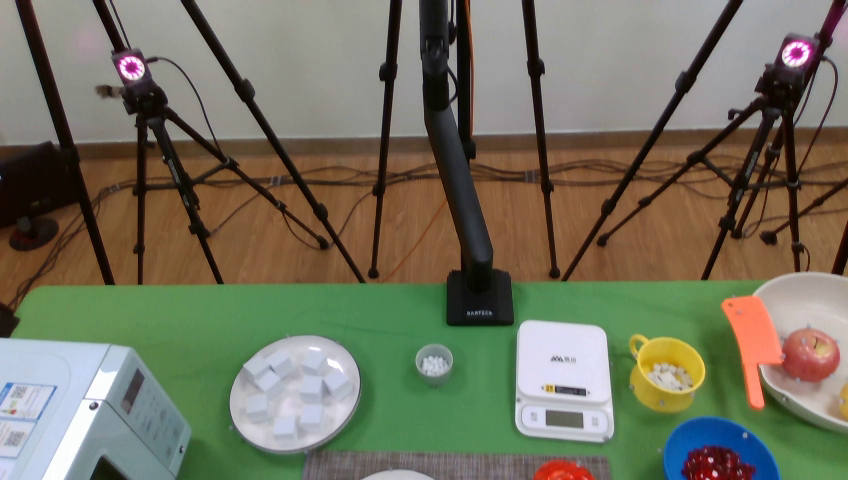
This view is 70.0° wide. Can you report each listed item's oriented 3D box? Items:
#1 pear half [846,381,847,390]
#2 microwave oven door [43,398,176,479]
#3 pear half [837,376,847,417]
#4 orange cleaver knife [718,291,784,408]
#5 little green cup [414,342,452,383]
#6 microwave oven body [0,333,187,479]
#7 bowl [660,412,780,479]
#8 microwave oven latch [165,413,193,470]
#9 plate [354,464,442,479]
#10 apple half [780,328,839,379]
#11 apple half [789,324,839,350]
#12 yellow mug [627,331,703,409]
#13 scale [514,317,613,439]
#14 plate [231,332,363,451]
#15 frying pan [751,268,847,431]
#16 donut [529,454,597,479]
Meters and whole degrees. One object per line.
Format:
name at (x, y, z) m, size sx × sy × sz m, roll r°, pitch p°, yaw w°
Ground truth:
pear half at (0.675, 0.217, 0.903) m, size 0.070 × 0.089 × 0.031 m, roll 22°, pitch 53°, yaw 28°
microwave oven door at (-0.401, 0.394, 0.687) m, size 0.039 × 0.246 × 0.352 m, roll 2°, pitch 48°, yaw 6°
pear half at (0.650, 0.229, 0.880) m, size 0.075 × 0.111 × 0.056 m, roll 27°, pitch 56°, yaw 30°
orange cleaver knife at (0.510, 0.162, 0.935) m, size 0.077 × 0.012 × 0.209 m, roll 2°, pitch 48°, yaw 9°
little green cup at (0.016, 0.203, 0.997) m, size 0.061 × 0.039 × 0.061 m, roll -2°, pitch 47°, yaw 2°
microwave oven body at (-0.542, 0.362, 0.732) m, size 0.326 × 0.262 × 0.437 m, roll 2°, pitch 49°, yaw 5°
bowl at (0.397, 0.324, 0.838) m, size 0.151 × 0.077 × 0.150 m, roll -2°, pitch 49°, yaw 2°
microwave oven latch at (-0.373, 0.301, 0.908) m, size 0.030 × 0.030 × 0.078 m, roll 4°, pitch 49°, yaw 7°
plate at (-0.038, 0.408, 0.810) m, size 0.209 × 0.038 × 0.207 m, roll -2°, pitch 48°, yaw 2°
apple half at (0.595, 0.185, 0.948) m, size 0.080 × 0.075 × 0.053 m, roll 36°, pitch 62°, yaw 27°
apple half at (0.621, 0.162, 0.965) m, size 0.080 × 0.082 × 0.033 m, roll 33°, pitch 61°, yaw 29°
yellow mug at (0.370, 0.196, 0.963) m, size 0.100 × 0.064 × 0.129 m, roll -25°, pitch 50°, yaw -17°
scale at (0.223, 0.217, 0.977) m, size 0.148 × 0.032 × 0.199 m, roll 3°, pitch 49°, yaw 7°
plate at (-0.201, 0.243, 0.975) m, size 0.207 × 0.039 × 0.205 m, roll -2°, pitch 48°, yaw 2°
frying pan at (0.690, 0.233, 0.884) m, size 0.307 × 0.104 × 0.482 m, roll -21°, pitch 42°, yaw -13°
donut at (0.194, 0.349, 0.845) m, size 0.099 × 0.049 × 0.098 m, roll -3°, pitch 48°, yaw 4°
